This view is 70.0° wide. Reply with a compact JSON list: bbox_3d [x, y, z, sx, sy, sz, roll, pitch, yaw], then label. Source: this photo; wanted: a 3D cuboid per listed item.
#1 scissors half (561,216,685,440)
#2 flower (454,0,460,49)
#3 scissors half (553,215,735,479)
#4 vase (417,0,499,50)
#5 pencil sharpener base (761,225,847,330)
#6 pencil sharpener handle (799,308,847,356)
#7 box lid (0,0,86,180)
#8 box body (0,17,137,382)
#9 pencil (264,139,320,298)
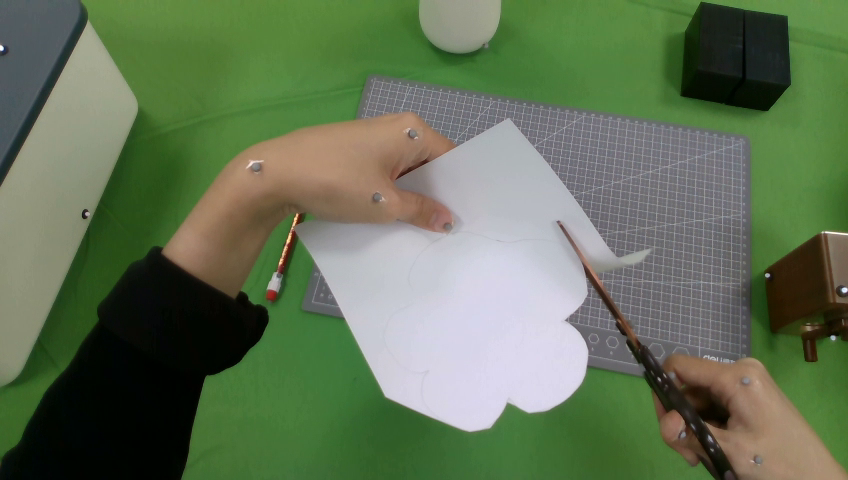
[{"bbox_3d":[0.123,0.055,0.366,0.013,0.039,0.176,-32,112,6],"label":"scissors half"},{"bbox_3d":[0.034,-0.350,0.592,0.044,0.365,0.038,3,50,5],"label":"flower"},{"bbox_3d":[0.122,0.058,0.343,0.013,0.040,0.174,-32,81,1],"label":"scissors half"},{"bbox_3d":[0.039,-0.305,0.664,0.098,0.201,0.097,0,66,1],"label":"vase"},{"bbox_3d":[0.378,0.043,0.575,0.061,0.108,0.076,6,68,2],"label":"pencil sharpener base"},{"bbox_3d":[0.369,0.085,0.545,0.036,0.068,0.030,11,68,-10],"label":"pencil sharpener handle"},{"bbox_3d":[-0.474,-0.092,0.513,0.263,0.015,0.369,11,68,3],"label":"box lid"},{"bbox_3d":[-0.474,-0.062,0.582,0.254,0.161,0.361,10,68,4],"label":"box body"},{"bbox_3d":[-0.139,-0.029,0.654,0.012,0.012,0.193,11,67,5],"label":"pencil"}]
